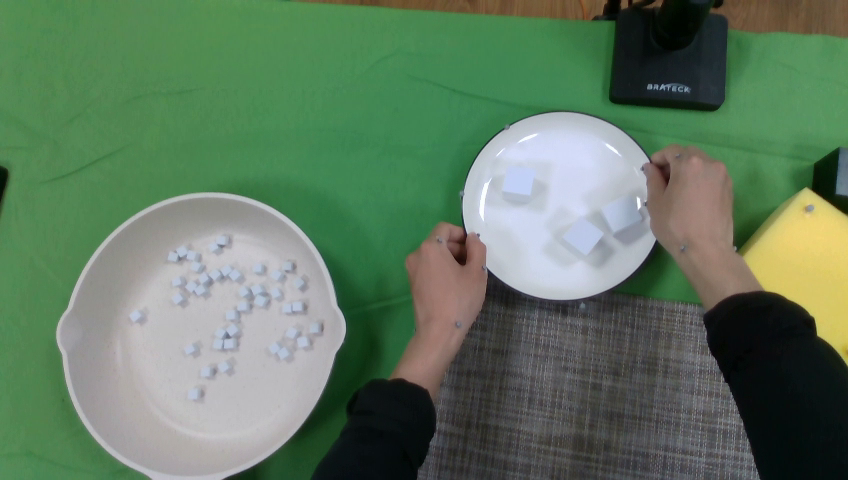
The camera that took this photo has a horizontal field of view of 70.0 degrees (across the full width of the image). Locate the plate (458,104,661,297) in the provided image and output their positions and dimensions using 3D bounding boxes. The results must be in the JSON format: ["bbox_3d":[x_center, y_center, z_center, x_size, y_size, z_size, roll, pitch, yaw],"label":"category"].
[{"bbox_3d":[0.141,-0.041,0.646,0.207,0.039,0.206,-1,79,6],"label":"plate"}]

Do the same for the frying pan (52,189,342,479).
[{"bbox_3d":[-0.233,0.192,0.608,0.306,0.103,0.484,0,71,7],"label":"frying pan"}]

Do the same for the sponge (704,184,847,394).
[{"bbox_3d":[0.401,0.058,0.584,0.206,0.061,0.118,42,85,13],"label":"sponge"}]
